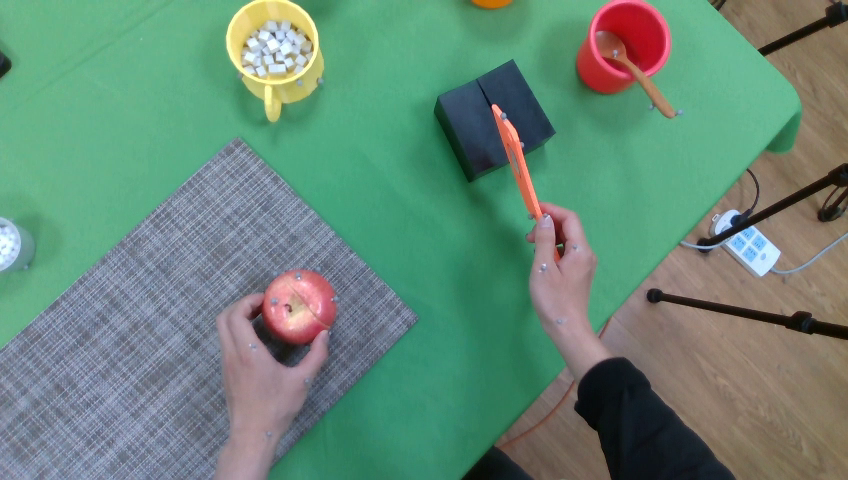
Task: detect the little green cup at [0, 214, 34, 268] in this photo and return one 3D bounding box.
[{"bbox_3d":[-0.462,0.003,0.660,0.061,0.038,0.061,1,85,-5],"label":"little green cup"}]

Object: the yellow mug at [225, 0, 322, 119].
[{"bbox_3d":[-0.171,-0.204,0.693,0.100,0.064,0.130,4,85,-5],"label":"yellow mug"}]

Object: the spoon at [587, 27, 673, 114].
[{"bbox_3d":[0.234,-0.198,0.692,0.041,0.022,0.191,-10,41,-4],"label":"spoon"}]

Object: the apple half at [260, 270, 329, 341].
[{"bbox_3d":[-0.148,0.078,0.662,0.053,0.074,0.081,-40,93,-4],"label":"apple half"}]

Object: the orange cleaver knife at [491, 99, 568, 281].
[{"bbox_3d":[0.114,-0.051,0.653,0.012,0.076,0.213,-24,116,3],"label":"orange cleaver knife"}]

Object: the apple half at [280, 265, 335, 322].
[{"bbox_3d":[-0.119,0.052,0.666,0.033,0.081,0.081,-41,89,-4],"label":"apple half"}]
